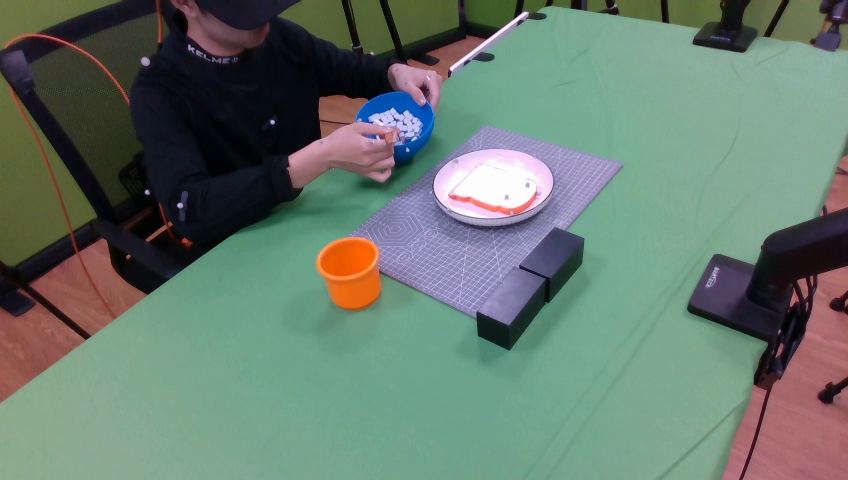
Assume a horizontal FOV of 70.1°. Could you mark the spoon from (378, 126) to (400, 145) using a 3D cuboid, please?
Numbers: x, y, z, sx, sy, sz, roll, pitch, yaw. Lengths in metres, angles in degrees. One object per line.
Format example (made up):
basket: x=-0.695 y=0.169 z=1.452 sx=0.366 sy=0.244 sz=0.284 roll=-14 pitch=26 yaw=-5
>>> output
spoon: x=-0.063 y=-0.185 z=1.066 sx=0.041 sy=0.021 sz=0.193 roll=-7 pitch=14 yaw=0

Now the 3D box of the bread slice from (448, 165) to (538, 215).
bread slice: x=0.126 y=-0.085 z=1.038 sx=0.133 sy=0.018 sz=0.107 roll=16 pitch=45 yaw=27

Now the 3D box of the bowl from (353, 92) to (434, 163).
bowl: x=-0.052 y=-0.202 z=1.146 sx=0.151 sy=0.077 sz=0.150 roll=-3 pitch=54 yaw=4

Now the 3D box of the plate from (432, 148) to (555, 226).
plate: x=0.119 y=-0.087 z=1.037 sx=0.209 sy=0.038 sz=0.208 roll=-4 pitch=40 yaw=4
